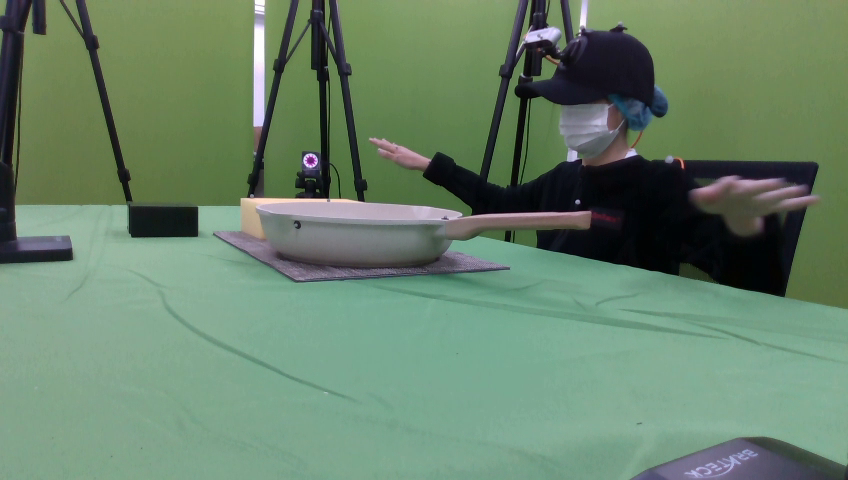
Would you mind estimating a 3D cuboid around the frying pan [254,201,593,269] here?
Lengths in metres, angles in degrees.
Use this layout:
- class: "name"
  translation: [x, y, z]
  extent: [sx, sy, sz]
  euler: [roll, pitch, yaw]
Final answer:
- class: "frying pan"
  translation: [-0.011, -0.017, 0.802]
  extent: [0.485, 0.102, 0.308]
  euler: [-2, 4, 39]

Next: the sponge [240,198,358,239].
- class: "sponge"
  translation: [-0.211, -0.040, 1.079]
  extent: [0.208, 0.061, 0.117]
  euler: [-2, 9, -33]
